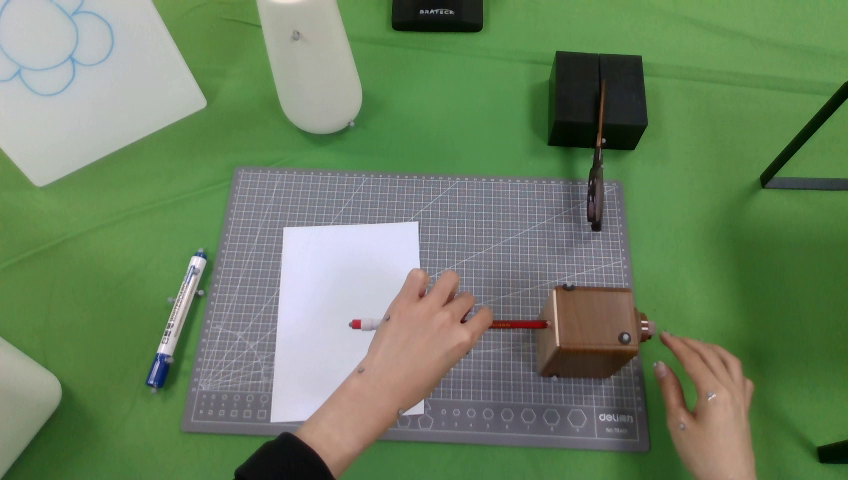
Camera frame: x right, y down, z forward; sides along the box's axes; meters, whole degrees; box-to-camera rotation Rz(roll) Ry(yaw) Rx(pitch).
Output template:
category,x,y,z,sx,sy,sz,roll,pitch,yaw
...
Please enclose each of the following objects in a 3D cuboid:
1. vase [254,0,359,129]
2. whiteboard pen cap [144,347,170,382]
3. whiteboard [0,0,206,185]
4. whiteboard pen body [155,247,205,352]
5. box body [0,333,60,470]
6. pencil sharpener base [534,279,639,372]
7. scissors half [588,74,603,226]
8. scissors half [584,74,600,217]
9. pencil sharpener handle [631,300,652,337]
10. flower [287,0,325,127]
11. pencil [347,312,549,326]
category,x,y,z,sx,sy,sz,roll,pitch,yaw
vase,-0.128,-0.210,0.656,0.098,0.201,0.097,0,64,1
whiteboard pen cap,-0.264,0.123,0.602,0.018,0.018,0.033,8,62,4
whiteboard,-0.420,-0.255,0.651,0.217,0.309,0.142,-30,49,-12
whiteboard pen body,-0.255,0.071,0.627,0.017,0.017,0.140,8,64,4
box body,-0.554,0.127,0.524,0.362,0.161,0.253,27,69,12
pencil sharpener base,0.149,0.084,0.570,0.077,0.108,0.061,1,65,1
scissors half,0.193,-0.102,0.673,0.012,0.040,0.175,1,84,26
scissors half,0.185,-0.107,0.655,0.013,0.040,0.174,2,67,21
pencil sharpener handle,0.200,0.077,0.560,0.030,0.068,0.036,1,75,1
flower,-0.135,-0.257,0.586,0.044,0.365,0.038,-5,48,2
pencil,0.028,0.072,0.544,0.194,0.012,0.012,1,65,1
